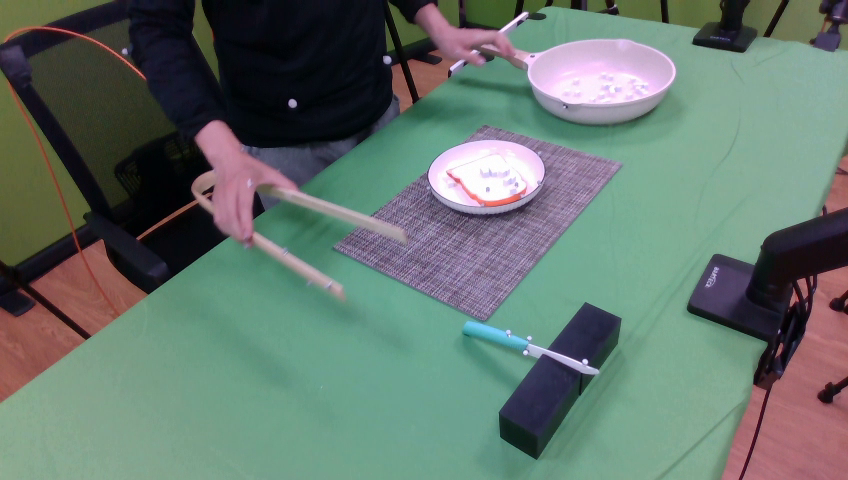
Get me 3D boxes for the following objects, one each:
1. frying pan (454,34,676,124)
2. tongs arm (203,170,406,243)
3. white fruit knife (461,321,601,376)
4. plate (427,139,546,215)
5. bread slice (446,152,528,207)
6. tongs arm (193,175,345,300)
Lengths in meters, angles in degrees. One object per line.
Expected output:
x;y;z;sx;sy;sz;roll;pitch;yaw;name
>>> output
0.277;-0.370;1.295;0.485;0.103;0.307;26;49;22;frying pan
-0.189;-0.054;0.908;0.385;0.028;0.028;18;55;28;tongs arm
0.126;0.133;0.752;0.205;0.027;0.016;12;45;42;white fruit knife
0.109;-0.106;1.058;0.207;0.039;0.206;-4;40;4;plate
0.118;-0.104;1.057;0.107;0.018;0.133;-24;42;-18;bread slice
-0.231;-0.014;0.873;0.381;0.027;0.051;26;56;33;tongs arm
